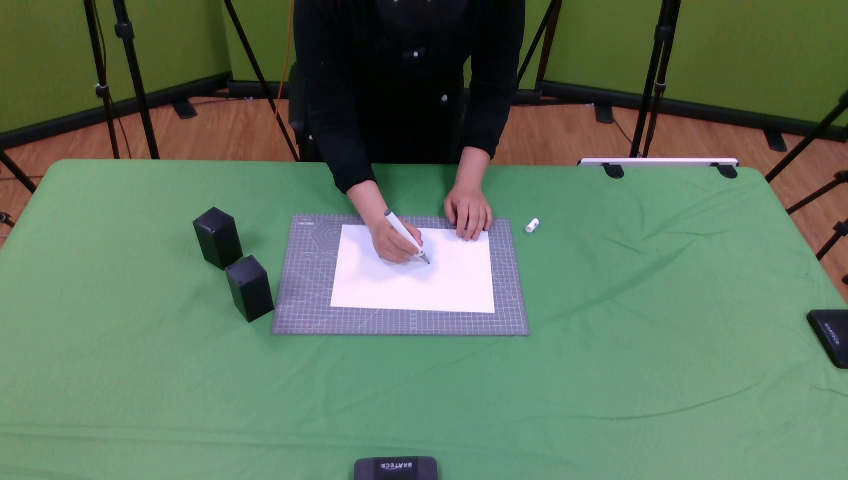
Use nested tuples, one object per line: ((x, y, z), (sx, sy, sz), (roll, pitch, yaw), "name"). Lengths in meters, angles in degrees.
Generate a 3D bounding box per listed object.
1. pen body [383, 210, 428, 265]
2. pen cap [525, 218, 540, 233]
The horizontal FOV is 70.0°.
((-0.032, -0.001, 1.128), (0.017, 0.145, 0.017), (-26, 32, 18), "pen body")
((0.224, -0.031, 1.248), (0.017, 0.017, 0.038), (30, 51, 23), "pen cap")
